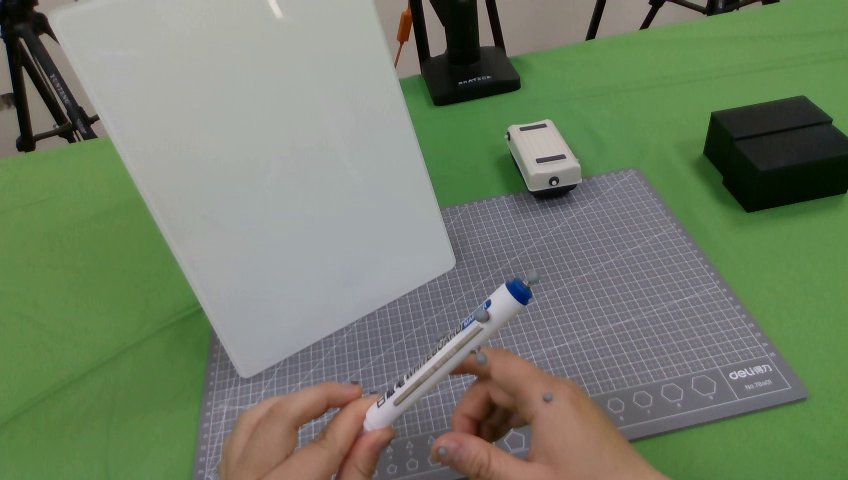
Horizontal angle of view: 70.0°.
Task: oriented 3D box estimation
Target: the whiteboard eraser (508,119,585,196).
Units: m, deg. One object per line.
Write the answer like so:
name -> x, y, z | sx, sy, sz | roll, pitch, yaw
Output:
whiteboard eraser -> 0.129, -0.089, 0.653 | 0.055, 0.042, 0.111 | -12, 38, 0

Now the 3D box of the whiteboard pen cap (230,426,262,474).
whiteboard pen cap -> -0.131, 0.155, 0.446 | 0.018, 0.018, 0.033 | 0, 60, 11

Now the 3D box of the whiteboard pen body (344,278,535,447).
whiteboard pen body -> 0.004, 0.069, 0.320 | 0.141, 0.017, 0.017 | -45, 39, 18

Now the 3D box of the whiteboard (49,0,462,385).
whiteboard -> -0.129, -0.075, 0.532 | 0.217, 0.308, 0.142 | -27, 25, -17
